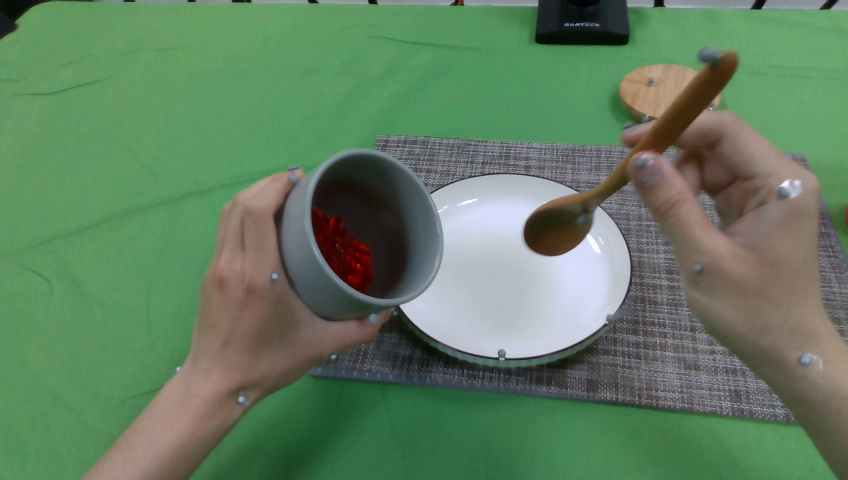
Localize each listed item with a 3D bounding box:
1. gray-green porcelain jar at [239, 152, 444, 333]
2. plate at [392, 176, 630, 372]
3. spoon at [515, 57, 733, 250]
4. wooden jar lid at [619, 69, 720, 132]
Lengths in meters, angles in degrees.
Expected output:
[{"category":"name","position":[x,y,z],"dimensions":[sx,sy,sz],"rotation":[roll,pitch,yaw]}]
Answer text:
[{"category":"gray-green porcelain jar","position":[-0.065,0.009,0.433],"dimensions":[0.126,0.106,0.105],"rotation":[-23,28,49]},{"category":"plate","position":[0.068,0.028,0.526],"dimensions":[0.207,0.039,0.205],"rotation":[-3,48,3]},{"category":"spoon","position":[0.095,-0.032,0.318],"dimensions":[0.042,0.194,0.021],"rotation":[20,70,-6]},{"category":"wooden jar lid","position":[0.277,-0.157,0.688],"dimensions":[0.108,0.021,0.107],"rotation":[-2,49,3]}]
